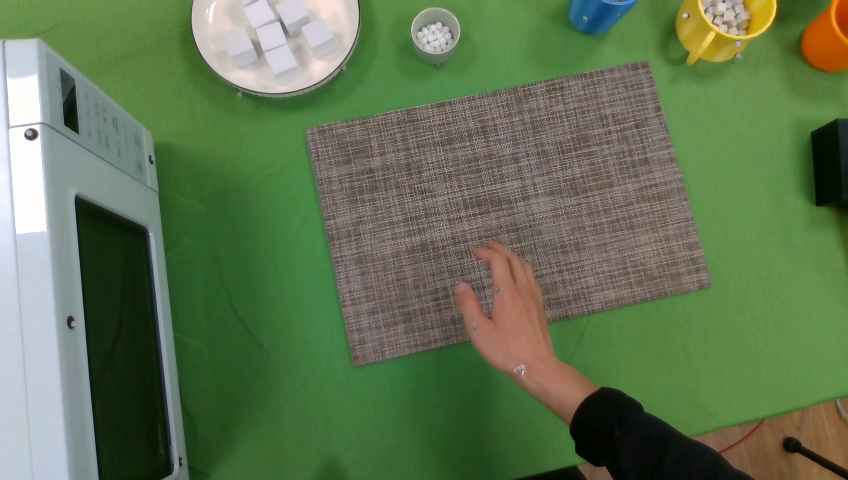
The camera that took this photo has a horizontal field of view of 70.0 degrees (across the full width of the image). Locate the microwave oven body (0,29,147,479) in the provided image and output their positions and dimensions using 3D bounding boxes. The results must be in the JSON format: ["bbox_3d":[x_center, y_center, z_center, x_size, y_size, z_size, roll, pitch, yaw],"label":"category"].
[{"bbox_3d":[-0.451,0.077,0.583,0.326,0.260,0.440,-9,83,-4],"label":"microwave oven body"}]

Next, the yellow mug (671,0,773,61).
[{"bbox_3d":[0.368,-0.282,0.768,0.100,0.064,0.130,35,83,3],"label":"yellow mug"}]

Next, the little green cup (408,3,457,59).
[{"bbox_3d":[0.010,-0.262,0.766,0.061,0.039,0.061,0,82,-2],"label":"little green cup"}]

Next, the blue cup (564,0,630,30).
[{"bbox_3d":[0.216,-0.311,0.749,0.093,0.100,0.092,0,83,-3],"label":"blue cup"}]

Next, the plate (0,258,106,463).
[{"bbox_3d":[-0.434,0.122,0.630,0.209,0.038,0.208,0,81,-2],"label":"plate"}]

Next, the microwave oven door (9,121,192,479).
[{"bbox_3d":[-0.300,0.094,0.581,0.039,0.244,0.354,-10,82,-3],"label":"microwave oven door"}]

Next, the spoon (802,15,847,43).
[{"bbox_3d":[0.562,-0.252,0.730,0.022,0.192,0.041,41,80,-41],"label":"spoon"}]

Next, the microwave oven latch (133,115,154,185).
[{"bbox_3d":[-0.337,-0.105,0.711,0.030,0.029,0.079,-7,83,-4],"label":"microwave oven latch"}]

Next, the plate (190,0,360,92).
[{"bbox_3d":[-0.183,-0.281,0.761,0.208,0.039,0.207,0,82,-2],"label":"plate"}]
